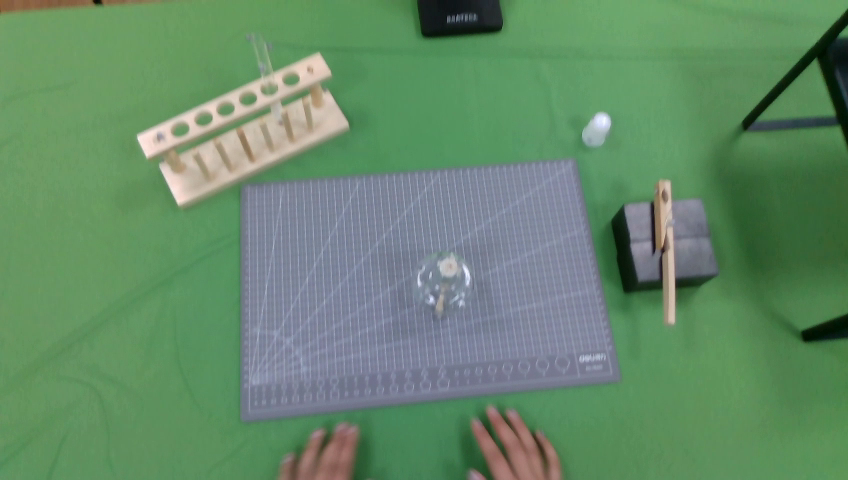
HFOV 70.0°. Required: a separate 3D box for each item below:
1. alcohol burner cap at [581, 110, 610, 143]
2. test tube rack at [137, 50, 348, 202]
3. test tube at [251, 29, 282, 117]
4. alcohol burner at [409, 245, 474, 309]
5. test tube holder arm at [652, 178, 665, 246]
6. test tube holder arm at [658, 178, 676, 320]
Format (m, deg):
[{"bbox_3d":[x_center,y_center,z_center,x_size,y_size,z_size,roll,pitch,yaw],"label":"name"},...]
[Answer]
[{"bbox_3d":[0.235,-0.156,0.823,0.034,0.048,0.033,0,70,-1],"label":"alcohol burner cap"},{"bbox_3d":[-0.223,-0.145,0.775,0.242,0.085,0.066,-28,74,-12],"label":"test tube rack"},{"bbox_3d":[-0.190,-0.199,0.743,0.017,0.151,0.017,2,65,-3],"label":"test tube"},{"bbox_3d":[0.022,0.038,0.705,0.078,0.119,0.077,1,71,-3],"label":"alcohol burner"},{"bbox_3d":[0.288,-0.035,0.744,0.010,0.015,0.087,4,72,0],"label":"test tube holder arm"},{"bbox_3d":[0.292,0.008,0.731,0.013,0.015,0.177,2,72,-1],"label":"test tube holder arm"}]
